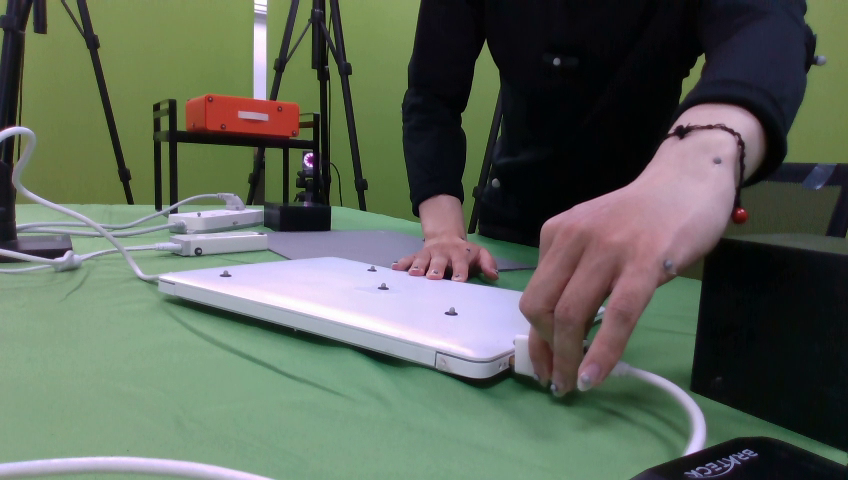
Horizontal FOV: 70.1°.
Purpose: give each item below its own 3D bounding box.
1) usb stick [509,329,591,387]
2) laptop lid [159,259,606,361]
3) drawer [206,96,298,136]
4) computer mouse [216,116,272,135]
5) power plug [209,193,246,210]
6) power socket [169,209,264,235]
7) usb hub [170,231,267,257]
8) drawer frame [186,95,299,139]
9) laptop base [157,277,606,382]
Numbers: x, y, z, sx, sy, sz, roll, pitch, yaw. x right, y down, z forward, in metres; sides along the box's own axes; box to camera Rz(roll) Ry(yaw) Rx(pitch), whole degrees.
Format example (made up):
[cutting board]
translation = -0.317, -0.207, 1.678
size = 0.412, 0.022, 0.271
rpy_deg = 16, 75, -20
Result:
[usb stick]
translation = 0.074, 0.072, 0.381
size = 0.059, 0.027, 0.021
rpy_deg = 3, 9, 37
[laptop lid]
translation = -0.040, 0.047, 0.554
size = 0.355, 0.013, 0.243
rpy_deg = 8, 7, 36
[drawer]
translation = -0.414, -0.276, 1.375
size = 0.195, 0.073, 0.210
rpy_deg = -3, 9, -31
[computer mouse]
translation = -0.402, -0.257, 1.353
size = 0.118, 0.041, 0.062
rpy_deg = -6, 15, -35
[power plug]
translation = -0.388, -0.067, 1.205
size = 0.072, 0.052, 0.035
rpy_deg = 3, 8, 26
[power socket]
translation = -0.381, -0.038, 1.128
size = 0.072, 0.032, 0.227
rpy_deg = 4, 8, 16
[usb hub]
translation = -0.290, 0.005, 0.862
size = 0.049, 0.025, 0.126
rpy_deg = 10, 11, 42
[drawer frame]
translation = -0.417, -0.277, 1.378
size = 0.203, 0.082, 0.212
rpy_deg = -3, 8, -32
[laptop base]
translation = -0.042, 0.059, 0.554
size = 0.352, 0.023, 0.237
rpy_deg = 8, 6, 34
